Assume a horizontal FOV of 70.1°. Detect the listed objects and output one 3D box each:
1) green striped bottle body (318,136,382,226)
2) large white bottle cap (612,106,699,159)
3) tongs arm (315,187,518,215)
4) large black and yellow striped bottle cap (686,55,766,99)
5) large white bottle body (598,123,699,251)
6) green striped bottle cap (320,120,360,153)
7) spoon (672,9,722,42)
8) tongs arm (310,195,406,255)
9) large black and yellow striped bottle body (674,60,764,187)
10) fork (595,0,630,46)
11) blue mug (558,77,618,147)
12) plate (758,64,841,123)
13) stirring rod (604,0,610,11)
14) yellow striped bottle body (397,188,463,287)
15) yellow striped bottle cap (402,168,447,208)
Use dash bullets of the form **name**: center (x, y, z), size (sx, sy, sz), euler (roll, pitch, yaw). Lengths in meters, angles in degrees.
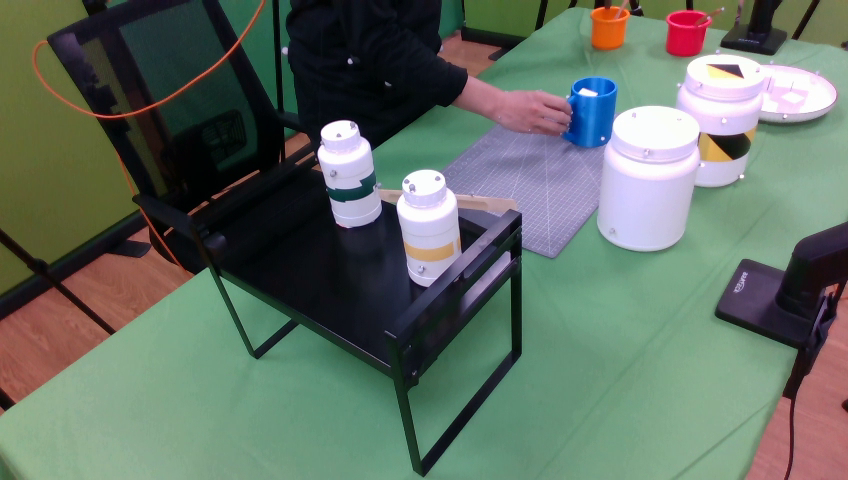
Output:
- **green striped bottle body**: center (-0.090, -0.081, 0.733), size (0.063, 0.120, 0.063), euler (-5, 41, 4)
- **large white bottle cap**: center (0.325, -0.153, 0.850), size (0.115, 0.018, 0.114), euler (-4, 41, 4)
- **tongs arm**: center (-0.028, -0.060, 0.988), size (0.382, 0.027, 0.051), euler (10, 45, 36)
- **large black and yellow striped bottle cap**: center (0.474, -0.258, 0.952), size (0.115, 0.019, 0.114), euler (-5, 41, 5)
- **large white bottle body**: center (0.334, -0.090, 0.906), size (0.130, 0.185, 0.130), euler (-5, 41, 5)
- **green striped bottle cap**: center (-0.097, -0.120, 0.699), size (0.044, 0.020, 0.044), euler (-3, 40, 3)
- **spoon**: center (0.606, -0.476, 1.345), size (0.042, 0.021, 0.193), euler (-6, -3, -2)
- **tongs arm**: center (-0.078, -0.013, 0.944), size (0.028, 0.028, 0.384), euler (-42, 39, -23)
- **large black and yellow striped bottle body**: center (0.482, -0.196, 1.008), size (0.131, 0.185, 0.130), euler (-4, 41, 4)
- **fork**: center (0.480, -0.556, 1.453), size (0.028, 0.019, 0.207), euler (41, 104, 42)
- **blue mug**: center (0.304, -0.237, 1.139), size (0.117, 0.106, 0.081), euler (-21, 42, -14)
- **plate**: center (0.694, -0.283, 1.189), size (0.207, 0.039, 0.206), euler (-4, 40, 4)
- **stirring rod**: center (0.416, -0.611, 1.375), size (0.014, 0.177, 0.006), euler (11, 39, 32)
- **yellow striped bottle body**: center (0.006, -0.013, 0.638), size (0.063, 0.121, 0.062), euler (-5, 41, 4)
- **yellow striped bottle cap**: center (0.001, -0.052, 0.605), size (0.044, 0.019, 0.044), euler (-5, 43, 5)
